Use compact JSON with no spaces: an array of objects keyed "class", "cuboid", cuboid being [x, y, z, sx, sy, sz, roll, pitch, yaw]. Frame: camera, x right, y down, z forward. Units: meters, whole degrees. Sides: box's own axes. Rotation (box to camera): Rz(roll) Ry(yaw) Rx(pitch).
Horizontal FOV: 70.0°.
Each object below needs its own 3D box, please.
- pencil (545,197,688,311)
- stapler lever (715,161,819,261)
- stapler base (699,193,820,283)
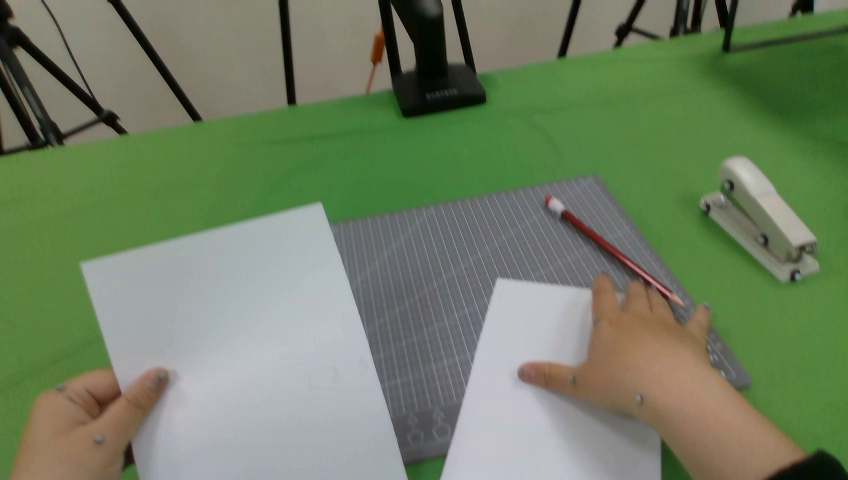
[{"class":"pencil","cuboid":[0.176,0.009,0.574,0.012,0.012,0.192,-22,42,-18]},{"class":"stapler lever","cuboid":[0.313,-0.031,0.557,0.027,0.040,0.116,-16,41,-7]},{"class":"stapler base","cuboid":[0.315,-0.012,0.575,0.041,0.025,0.129,-16,41,-7]}]
